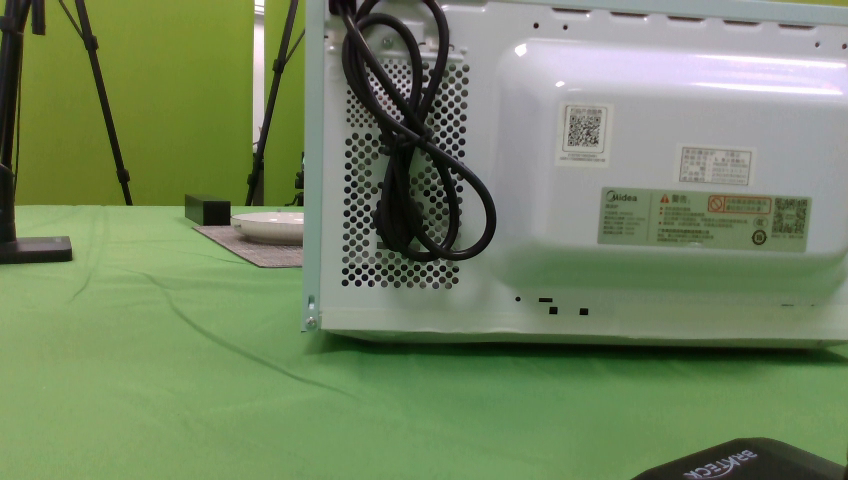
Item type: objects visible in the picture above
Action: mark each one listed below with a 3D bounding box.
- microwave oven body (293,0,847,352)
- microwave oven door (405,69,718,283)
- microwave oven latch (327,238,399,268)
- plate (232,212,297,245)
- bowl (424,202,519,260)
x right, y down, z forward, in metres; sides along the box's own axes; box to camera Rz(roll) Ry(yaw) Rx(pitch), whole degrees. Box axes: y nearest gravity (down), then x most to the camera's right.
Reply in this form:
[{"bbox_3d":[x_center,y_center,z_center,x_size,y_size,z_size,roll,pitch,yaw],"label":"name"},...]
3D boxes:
[{"bbox_3d":[0.122,-0.055,0.550,0.442,0.260,0.325,3,7,-5],"label":"microwave oven body"},{"bbox_3d":[0.158,-0.083,0.742,0.355,0.243,0.039,4,8,10],"label":"microwave oven door"},{"bbox_3d":[-0.069,0.015,0.694,0.079,0.029,0.030,3,7,-2],"label":"microwave oven latch"},{"bbox_3d":[-0.214,-0.019,1.018,0.208,0.039,0.207,3,7,0],"label":"plate"},{"bbox_3d":[0.072,-0.013,0.962,0.151,0.077,0.151,5,10,0],"label":"bowl"}]
